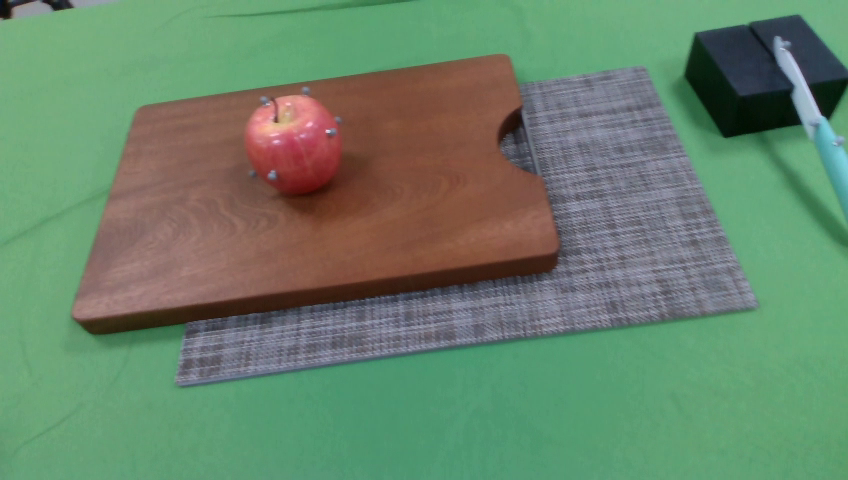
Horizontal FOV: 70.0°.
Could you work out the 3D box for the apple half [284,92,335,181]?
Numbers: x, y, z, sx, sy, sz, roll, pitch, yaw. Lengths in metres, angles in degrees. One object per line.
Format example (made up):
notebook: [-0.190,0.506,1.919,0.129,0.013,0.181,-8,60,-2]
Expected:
apple half: [-0.094,-0.093,0.531,0.033,0.082,0.080,-19,53,-1]

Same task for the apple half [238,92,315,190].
apple half: [-0.131,-0.081,0.529,0.053,0.075,0.080,-18,56,-1]

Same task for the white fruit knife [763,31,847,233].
white fruit knife: [0.326,-0.095,0.510,0.016,0.027,0.205,-10,67,0]
